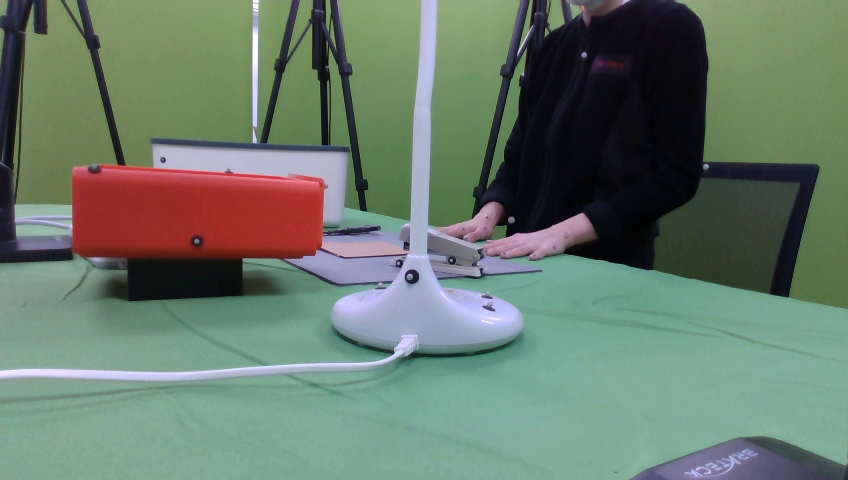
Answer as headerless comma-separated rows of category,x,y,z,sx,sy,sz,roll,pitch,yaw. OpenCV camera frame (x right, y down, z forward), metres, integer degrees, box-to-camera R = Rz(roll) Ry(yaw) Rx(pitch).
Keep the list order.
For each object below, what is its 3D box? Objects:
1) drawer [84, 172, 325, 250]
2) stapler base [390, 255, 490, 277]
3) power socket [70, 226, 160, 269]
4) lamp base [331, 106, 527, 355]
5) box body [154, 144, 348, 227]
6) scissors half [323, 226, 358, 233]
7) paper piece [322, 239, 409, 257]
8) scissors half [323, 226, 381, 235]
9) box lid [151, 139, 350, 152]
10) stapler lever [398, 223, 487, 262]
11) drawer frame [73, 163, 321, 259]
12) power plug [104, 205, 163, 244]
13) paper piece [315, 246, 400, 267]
drawer,-0.227,-0.036,0.638,0.213,0.073,0.193,-1,9,-23
stapler base,0.020,0.027,0.779,0.130,0.024,0.041,7,12,25
power socket,-0.409,0.004,0.793,0.072,0.032,0.225,-2,8,-38
lamp base,0.006,-0.012,0.478,0.161,0.180,0.179,2,10,2
box body,-0.357,-0.119,1.264,0.365,0.160,0.253,0,7,-18
scissors half,-0.166,-0.015,1.094,0.040,0.013,0.176,4,7,40
paper piece,-0.091,0.011,0.920,0.139,0.008,0.135,0,11,-34
scissors half,-0.153,-0.015,1.079,0.176,0.013,0.040,-6,2,-33
box lid,-0.352,-0.191,1.255,0.373,0.015,0.262,0,8,-18
stapler lever,0.022,0.003,0.775,0.117,0.040,0.027,7,12,25
drawer frame,-0.232,-0.034,0.635,0.214,0.082,0.201,1,8,-23
power plug,-0.390,-0.021,0.815,0.073,0.052,0.035,-1,7,-27
paper piece,-0.101,0.021,0.918,0.136,0.004,0.135,2,13,-22
